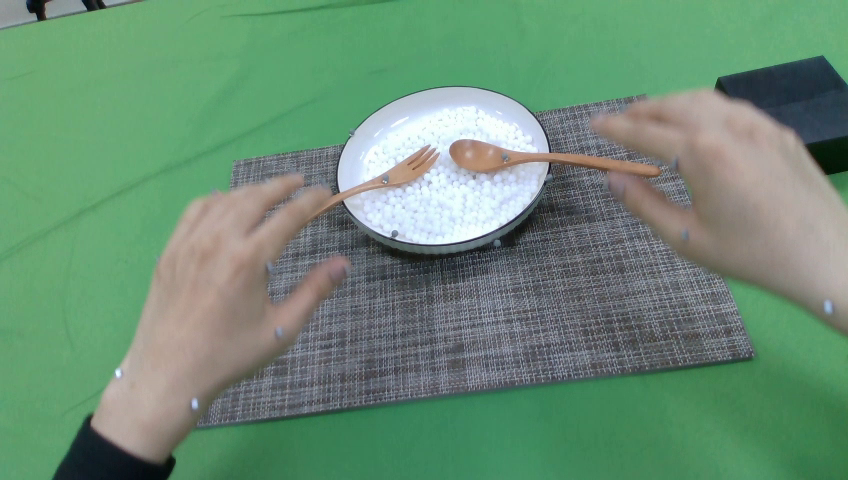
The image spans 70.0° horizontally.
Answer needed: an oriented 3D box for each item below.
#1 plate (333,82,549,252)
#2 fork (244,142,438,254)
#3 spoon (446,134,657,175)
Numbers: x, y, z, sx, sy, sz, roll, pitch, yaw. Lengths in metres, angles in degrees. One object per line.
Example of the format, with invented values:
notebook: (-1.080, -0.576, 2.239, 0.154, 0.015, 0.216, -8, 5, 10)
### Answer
plate: (0.016, -0.071, 0.591, 0.209, 0.038, 0.207, -5, 55, 7)
fork: (-0.074, -0.041, 0.568, 0.207, 0.019, 0.028, -29, 52, -21)
spoon: (0.112, -0.076, 0.555, 0.192, 0.022, 0.041, 8, 52, 25)
